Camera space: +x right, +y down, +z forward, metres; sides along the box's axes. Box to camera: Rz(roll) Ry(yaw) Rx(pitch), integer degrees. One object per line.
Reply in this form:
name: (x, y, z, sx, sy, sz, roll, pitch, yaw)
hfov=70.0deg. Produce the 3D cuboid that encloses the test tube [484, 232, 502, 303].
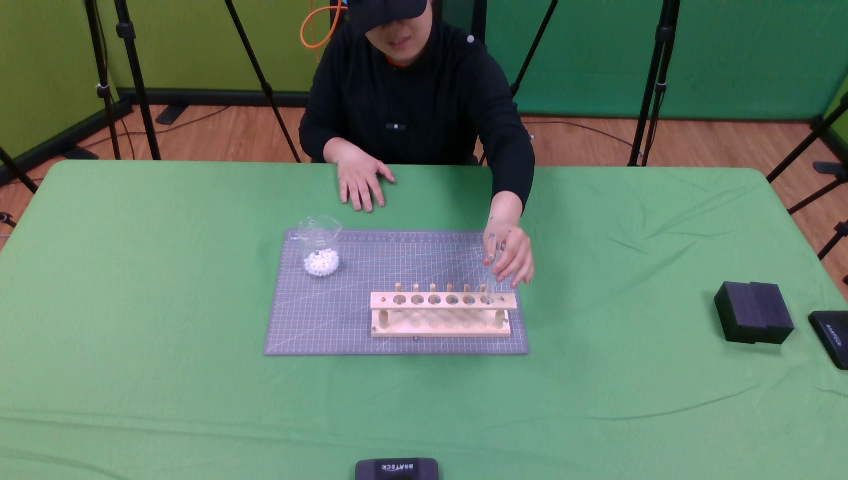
test tube: (0.108, 0.048, 0.960, 0.017, 0.151, 0.017, 1, 42, -1)

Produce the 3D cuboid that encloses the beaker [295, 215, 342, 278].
beaker: (-0.191, 0.013, 1.114, 0.084, 0.101, 0.073, -12, 49, -17)

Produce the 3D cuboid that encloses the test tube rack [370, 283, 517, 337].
test tube rack: (0.030, 0.116, 1.041, 0.242, 0.085, 0.066, 1, 46, -4)
